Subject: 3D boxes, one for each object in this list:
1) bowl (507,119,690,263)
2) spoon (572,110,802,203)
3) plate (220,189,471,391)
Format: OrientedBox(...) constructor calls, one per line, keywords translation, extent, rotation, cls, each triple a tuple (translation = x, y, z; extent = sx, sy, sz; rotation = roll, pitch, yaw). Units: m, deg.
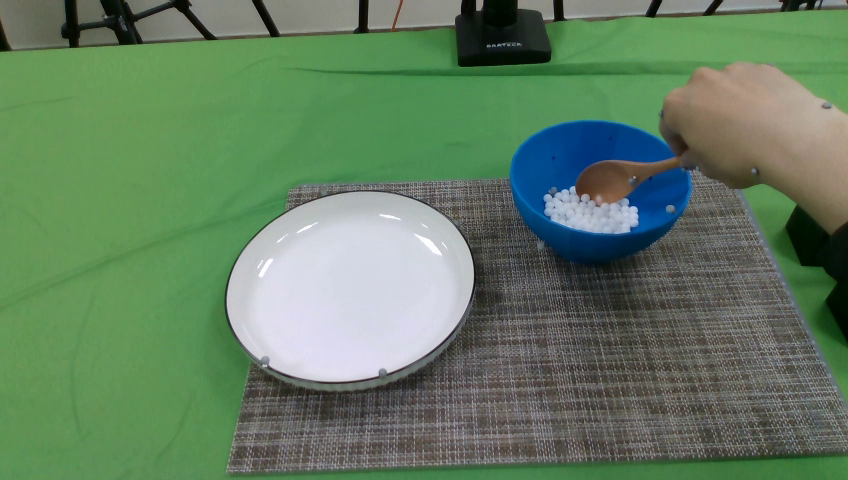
OrientedBox(translation=(0.148, -0.032, 0.541), extent=(0.151, 0.077, 0.150), rotation=(-2, 47, 2), cls="bowl")
OrientedBox(translation=(0.199, -0.064, 0.487), extent=(0.021, 0.042, 0.193), rotation=(-34, 11, -34), cls="spoon")
OrientedBox(translation=(-0.064, 0.040, 0.517), extent=(0.207, 0.039, 0.205), rotation=(-2, 47, 2), cls="plate")
